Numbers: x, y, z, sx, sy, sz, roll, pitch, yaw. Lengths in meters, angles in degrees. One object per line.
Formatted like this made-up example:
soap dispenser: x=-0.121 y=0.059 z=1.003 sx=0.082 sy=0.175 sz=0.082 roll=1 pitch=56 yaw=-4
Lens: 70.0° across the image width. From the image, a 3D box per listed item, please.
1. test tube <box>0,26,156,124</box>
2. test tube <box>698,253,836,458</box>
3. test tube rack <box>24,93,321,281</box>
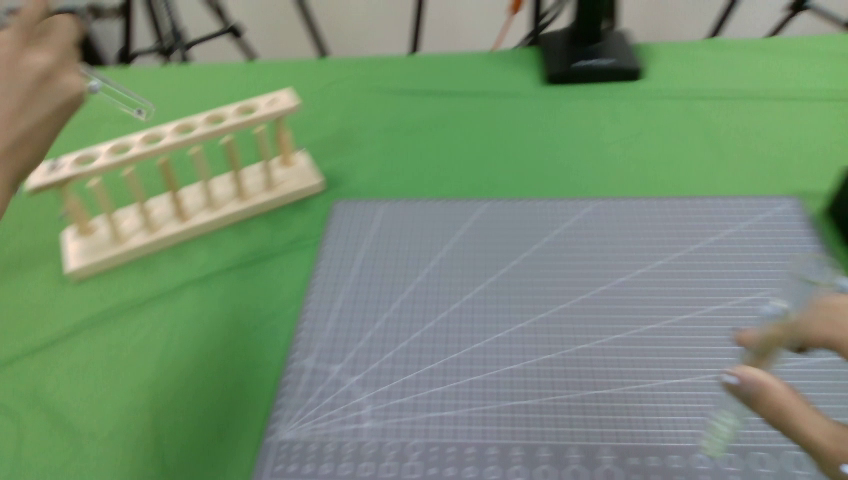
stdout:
test tube: x=-0.259 y=-0.121 z=0.416 sx=0.017 sy=0.152 sz=0.017 roll=-21 pitch=56 yaw=36
test tube: x=0.147 y=0.060 z=0.271 sx=0.017 sy=0.152 sz=0.017 roll=-4 pitch=46 yaw=4
test tube rack: x=-0.230 y=-0.055 z=0.580 sx=0.243 sy=0.086 sz=0.066 roll=-22 pitch=46 yaw=-18
